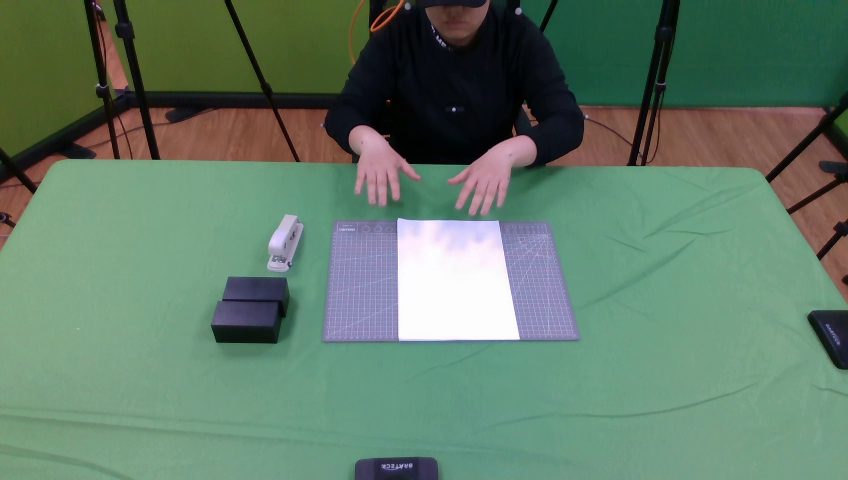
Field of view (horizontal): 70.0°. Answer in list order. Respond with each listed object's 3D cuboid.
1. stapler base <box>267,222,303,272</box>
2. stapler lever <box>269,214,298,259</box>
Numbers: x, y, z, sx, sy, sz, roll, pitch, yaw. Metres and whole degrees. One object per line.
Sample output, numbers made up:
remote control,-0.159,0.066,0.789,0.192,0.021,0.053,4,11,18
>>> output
stapler base,-0.269,0.005,1.170,0.041,0.024,0.130,8,44,0
stapler lever,-0.268,-0.014,1.153,0.027,0.040,0.117,8,44,0
